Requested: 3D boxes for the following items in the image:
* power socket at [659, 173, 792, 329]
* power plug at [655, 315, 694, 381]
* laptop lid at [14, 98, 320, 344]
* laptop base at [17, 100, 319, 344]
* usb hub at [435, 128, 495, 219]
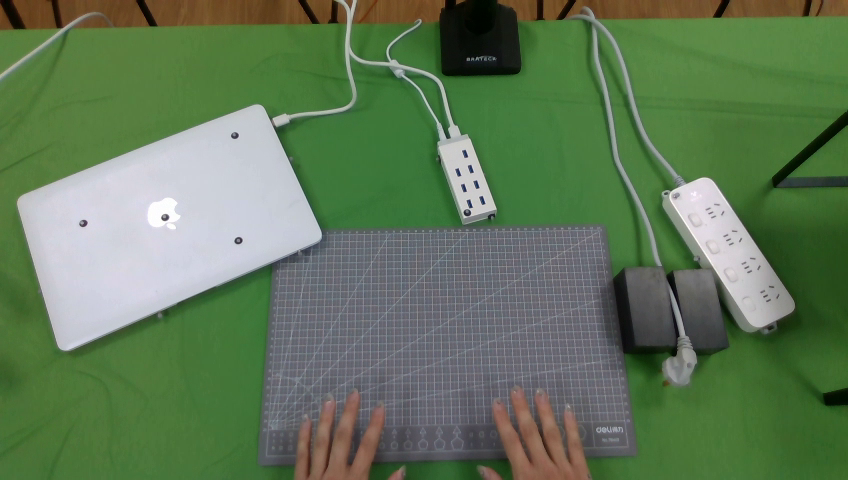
[{"bbox_3d":[0.396,0.010,0.801,0.072,0.033,0.225,-22,71,-9],"label":"power socket"},{"bbox_3d":[0.303,0.135,0.732,0.035,0.053,0.072,29,52,-7],"label":"power plug"},{"bbox_3d":[-0.343,-0.037,0.806,0.357,0.013,0.240,-23,73,-9],"label":"laptop lid"},{"bbox_3d":[-0.344,-0.034,0.818,0.354,0.023,0.234,-24,74,-9],"label":"laptop base"},{"bbox_3d":[0.055,-0.093,0.840,0.049,0.025,0.124,-16,70,-6],"label":"usb hub"}]
